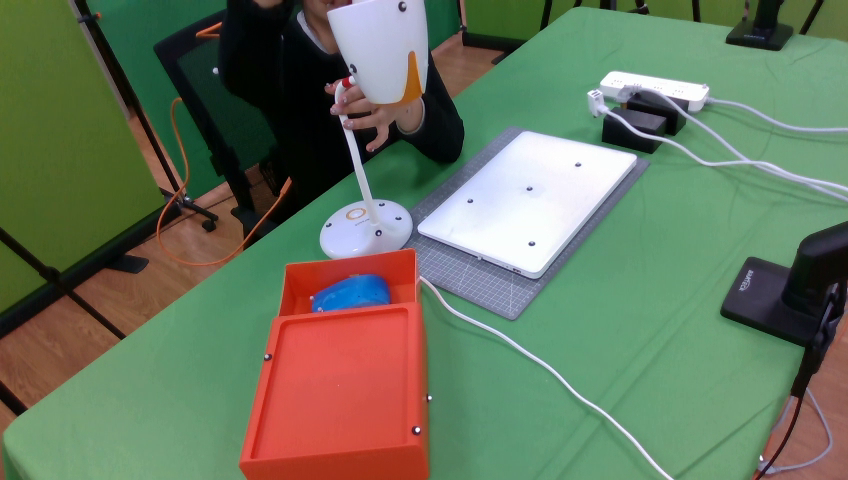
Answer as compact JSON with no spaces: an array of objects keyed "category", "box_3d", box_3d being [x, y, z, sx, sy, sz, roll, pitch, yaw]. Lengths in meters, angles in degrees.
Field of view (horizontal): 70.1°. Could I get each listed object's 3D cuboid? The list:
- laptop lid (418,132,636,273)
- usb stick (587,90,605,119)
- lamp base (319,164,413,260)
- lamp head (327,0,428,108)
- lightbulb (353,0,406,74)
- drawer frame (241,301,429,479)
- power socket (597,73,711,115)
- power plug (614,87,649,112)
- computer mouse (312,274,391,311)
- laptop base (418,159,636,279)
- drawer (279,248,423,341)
[{"category":"laptop lid","box_3d":[0.181,-0.084,1.036,0.239,0.013,0.358,22,49,35]},{"category":"usb stick","box_3d":[0.334,-0.258,1.170,0.021,0.059,0.027,-28,44,-6]},{"category":"lamp base","box_3d":[-0.102,-0.068,0.962,0.161,0.181,0.177,-30,46,-21]},{"category":"lamp head","box_3d":[-0.047,-0.217,0.708,0.112,0.123,0.112,-9,25,4]},{"category":"lightbulb","box_3d":[-0.045,-0.246,0.696,0.059,0.108,0.059,-13,16,4]},{"category":"drawer frame","box_3d":[-0.096,0.183,0.741,0.202,0.083,0.212,-6,40,3]},{"category":"power socket","box_3d":[0.469,-0.304,1.249,0.225,0.033,0.072,20,49,30]},{"category":"power plug","box_3d":[0.406,-0.275,1.193,0.035,0.053,0.072,-15,24,-16]},{"category":"computer mouse","box_3d":[-0.107,0.086,0.885,0.117,0.041,0.062,-14,40,0]},{"category":"laptop base","box_3d":[0.185,-0.074,1.042,0.233,0.023,0.355,19,48,35]},{"category":"drawer","box_3d":[-0.100,0.114,0.828,0.194,0.073,0.210,-7,40,2]}]
